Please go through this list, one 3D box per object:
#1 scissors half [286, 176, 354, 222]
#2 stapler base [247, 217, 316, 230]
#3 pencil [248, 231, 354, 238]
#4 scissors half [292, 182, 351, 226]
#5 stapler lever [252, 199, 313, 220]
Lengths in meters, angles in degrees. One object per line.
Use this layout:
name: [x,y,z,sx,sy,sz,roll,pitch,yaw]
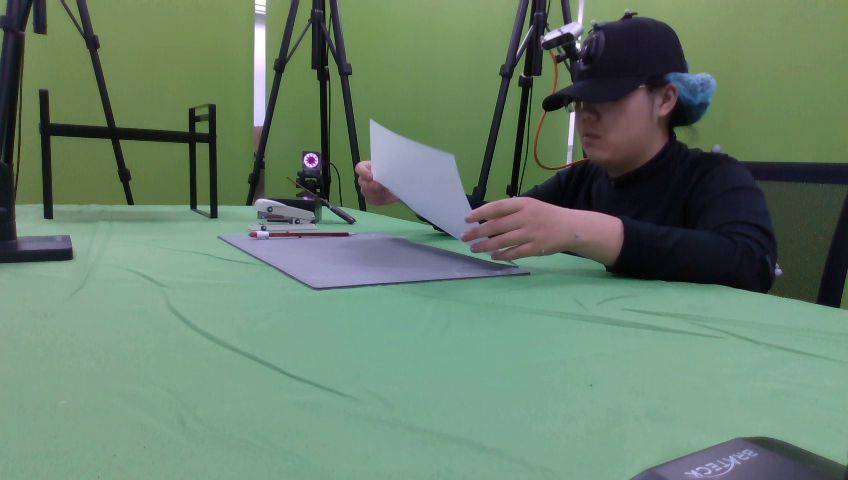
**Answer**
scissors half: [-0.229,-0.091,1.337,0.175,0.013,0.040,33,15,-13]
stapler base: [-0.276,-0.033,1.172,0.131,0.024,0.041,0,10,-37]
pencil: [-0.206,-0.008,1.039,0.195,0.012,0.012,0,8,-36]
scissors half: [-0.232,-0.085,1.317,0.175,0.013,0.040,38,20,4]
stapler lever: [-0.273,-0.058,1.170,0.119,0.040,0.026,0,10,-37]
